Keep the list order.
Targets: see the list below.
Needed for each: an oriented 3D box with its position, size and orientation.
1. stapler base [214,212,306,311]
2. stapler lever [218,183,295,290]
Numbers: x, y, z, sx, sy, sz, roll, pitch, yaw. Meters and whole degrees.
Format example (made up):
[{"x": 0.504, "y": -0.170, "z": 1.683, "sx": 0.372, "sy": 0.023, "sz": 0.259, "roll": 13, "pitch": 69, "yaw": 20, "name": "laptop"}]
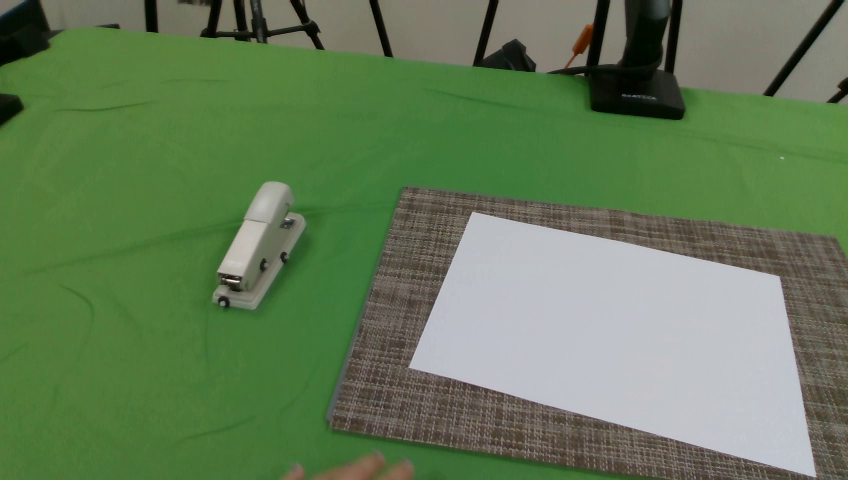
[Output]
[{"x": -0.150, "y": 0.010, "z": 0.565, "sx": 0.041, "sy": 0.024, "sz": 0.129, "roll": 9, "pitch": 43, "yaw": 10, "name": "stapler base"}, {"x": -0.150, "y": -0.007, "z": 0.547, "sx": 0.027, "sy": 0.040, "sz": 0.117, "roll": 9, "pitch": 42, "yaw": 10, "name": "stapler lever"}]
